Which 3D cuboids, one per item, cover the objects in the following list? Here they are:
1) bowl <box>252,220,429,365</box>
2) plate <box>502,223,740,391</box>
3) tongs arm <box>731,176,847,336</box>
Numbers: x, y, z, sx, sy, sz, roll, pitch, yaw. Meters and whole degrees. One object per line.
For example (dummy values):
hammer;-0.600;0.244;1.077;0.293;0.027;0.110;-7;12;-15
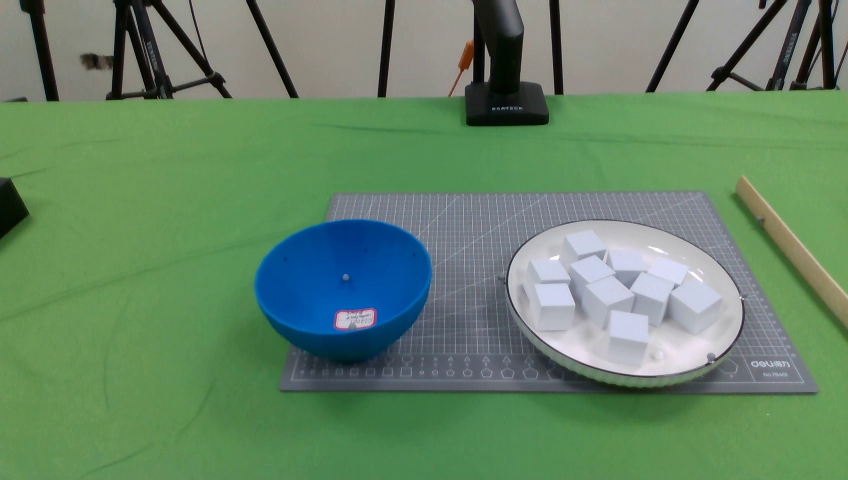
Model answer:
bowl;-0.069;0.057;0.536;0.151;0.077;0.150;-1;38;1
plate;0.175;0.059;0.558;0.208;0.039;0.205;-1;38;1
tongs arm;0.391;0.050;0.574;0.028;0.028;0.383;-3;38;-5
